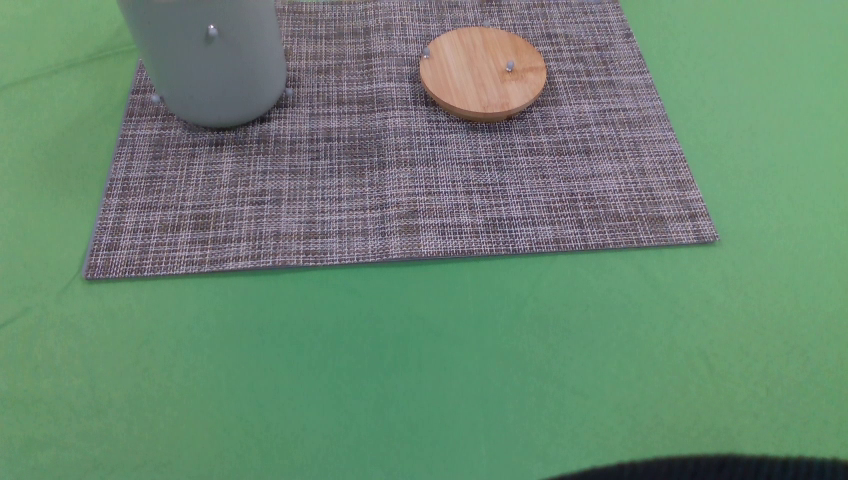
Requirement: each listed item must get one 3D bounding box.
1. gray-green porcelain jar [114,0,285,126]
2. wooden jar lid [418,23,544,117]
[{"bbox_3d":[-0.165,-0.159,0.458,0.106,0.127,0.105,1,56,-1],"label":"gray-green porcelain jar"},{"bbox_3d":[0.048,-0.145,0.521,0.108,0.021,0.107,1,56,-1],"label":"wooden jar lid"}]
